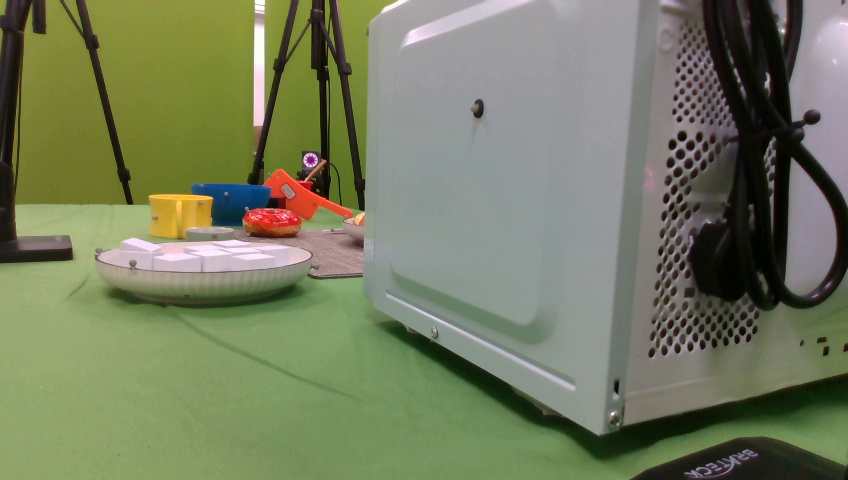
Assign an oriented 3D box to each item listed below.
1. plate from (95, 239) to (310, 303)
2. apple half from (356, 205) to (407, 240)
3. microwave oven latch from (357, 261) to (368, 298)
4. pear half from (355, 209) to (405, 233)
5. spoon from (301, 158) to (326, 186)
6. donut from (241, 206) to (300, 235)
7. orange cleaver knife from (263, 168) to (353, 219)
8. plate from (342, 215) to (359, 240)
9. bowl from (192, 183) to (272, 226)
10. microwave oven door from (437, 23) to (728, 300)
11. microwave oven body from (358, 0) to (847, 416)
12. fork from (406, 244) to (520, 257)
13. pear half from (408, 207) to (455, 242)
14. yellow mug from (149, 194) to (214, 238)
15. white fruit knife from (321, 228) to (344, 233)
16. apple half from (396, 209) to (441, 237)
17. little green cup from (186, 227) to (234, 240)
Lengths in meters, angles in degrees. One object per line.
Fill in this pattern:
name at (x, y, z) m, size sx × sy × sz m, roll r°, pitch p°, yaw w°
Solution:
plate at (-0.224, 0.031, 0.629) m, size 0.208 × 0.039 × 0.207 m, roll 2°, pitch 8°, yaw 0°
apple half at (-0.065, -0.028, 0.970) m, size 0.081 × 0.053 × 0.074 m, roll 3°, pitch 8°, yaw -27°
microwave oven latch at (-0.019, 0.033, 0.530) m, size 0.079 × 0.029 × 0.030 m, roll 0°, pitch 7°, yaw -26°
pear half at (-0.075, -0.035, 1.045) m, size 0.088 × 0.031 × 0.070 m, roll 5°, pitch 26°, yaw -7°
spoon at (-0.320, -0.161, 1.646) m, size 0.041 × 0.022 × 0.194 m, roll 7°, pitch 53°, yaw 34°
donut at (-0.263, -0.032, 1.039) m, size 0.099 × 0.048 × 0.099 m, roll 4°, pitch 9°, yaw 0°
orange cleaver knife at (-0.262, -0.088, 1.352) m, size 0.211 × 0.077 × 0.012 m, roll 27°, pitch 13°, yaw 0°
plate at (-0.033, -0.014, 1.006) m, size 0.209 × 0.038 × 0.209 m, roll 2°, pitch 8°, yaw 0°
bowl at (-0.381, -0.071, 1.202) m, size 0.151 × 0.077 × 0.151 m, roll 3°, pitch 7°, yaw 0°
microwave oven door at (0.180, -0.072, 0.621) m, size 0.358 × 0.243 × 0.039 m, roll -2°, pitch 8°, yaw -29°
microwave oven body at (0.211, -0.047, 0.475) m, size 0.444 × 0.260 × 0.324 m, roll -1°, pitch 7°, yaw -28°
fork at (0.064, 0.015, 0.893) m, size 0.208 × 0.018 × 0.028 m, roll -3°, pitch 0°, yaw -35°
pear half at (0.018, -0.026, 0.999) m, size 0.076 × 0.056 × 0.110 m, roll 9°, pitch 6°, yaw 20°
yellow mug at (-0.401, -0.040, 1.003) m, size 0.100 × 0.064 × 0.130 m, roll 0°, pitch 9°, yaw -20°
white fruit knife at (-0.097, -0.022, 1.142) m, size 0.208 × 0.016 × 0.027 m, roll -4°, pitch -21°, yaw -32°
apple half at (-0.008, -0.036, 1.053) m, size 0.081 × 0.033 × 0.081 m, roll 13°, pitch 26°, yaw -6°
little green cup at (-0.285, 0.005, 0.805) m, size 0.061 × 0.038 × 0.061 m, roll 2°, pitch 8°, yaw 0°
